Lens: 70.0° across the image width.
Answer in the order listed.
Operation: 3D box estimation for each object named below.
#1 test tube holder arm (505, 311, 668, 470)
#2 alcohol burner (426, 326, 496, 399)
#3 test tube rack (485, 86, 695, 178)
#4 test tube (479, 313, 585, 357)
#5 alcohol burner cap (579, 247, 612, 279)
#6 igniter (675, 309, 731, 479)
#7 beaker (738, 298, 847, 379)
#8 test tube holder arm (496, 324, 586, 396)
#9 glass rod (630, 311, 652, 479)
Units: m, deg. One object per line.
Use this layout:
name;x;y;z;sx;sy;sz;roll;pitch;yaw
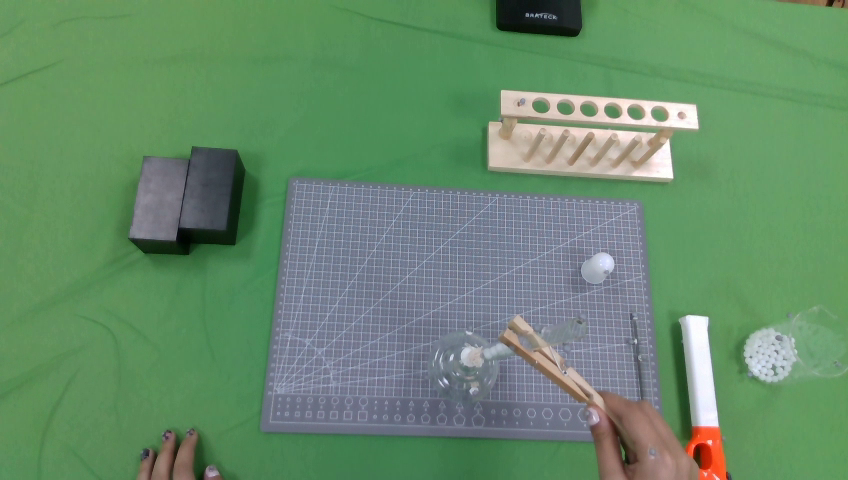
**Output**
test tube holder arm;0.135;0.125;0.502;0.178;0.015;0.013;43;65;0
alcohol burner;0.041;0.126;0.639;0.078;0.120;0.077;2;69;-5
test tube rack;0.204;-0.133;0.761;0.243;0.085;0.066;3;71;-5
test tube;0.083;0.081;0.500;0.017;0.150;0.017;7;71;-20
alcohol burner cap;0.209;0.026;0.729;0.034;0.048;0.033;2;72;-5
igniter;0.315;0.216;0.688;0.057;0.025;0.275;6;71;-15
beaker;0.419;0.116;0.694;0.074;0.101;0.083;16;70;0
test tube holder arm;0.098;0.100;0.499;0.088;0.015;0.010;36;65;-3
glass rod;0.249;0.180;0.700;0.008;0.008;0.198;3;71;-5
